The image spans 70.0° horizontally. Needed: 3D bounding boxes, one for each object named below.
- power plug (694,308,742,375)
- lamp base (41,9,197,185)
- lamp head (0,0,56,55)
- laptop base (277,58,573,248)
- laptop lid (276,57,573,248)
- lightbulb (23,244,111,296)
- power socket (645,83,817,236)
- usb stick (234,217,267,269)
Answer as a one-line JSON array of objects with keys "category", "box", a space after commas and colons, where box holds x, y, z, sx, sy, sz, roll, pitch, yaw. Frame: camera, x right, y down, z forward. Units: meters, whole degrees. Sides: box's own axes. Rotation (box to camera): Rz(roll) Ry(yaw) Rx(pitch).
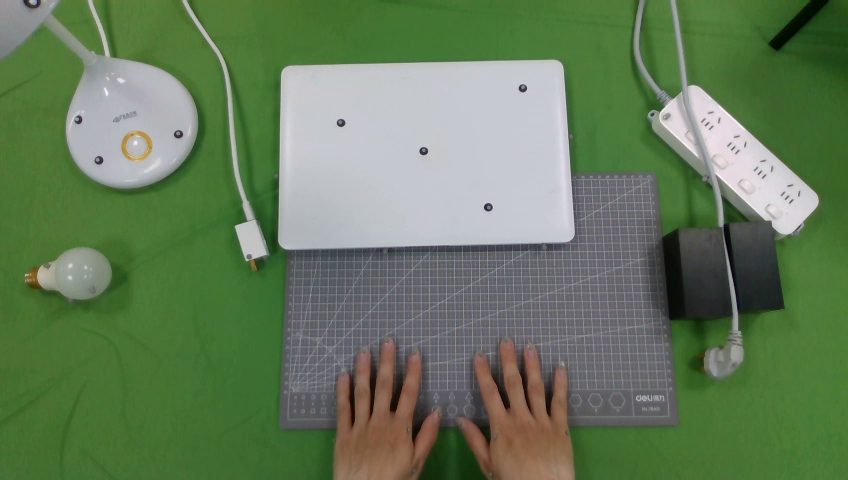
[{"category": "power plug", "box": [0.334, 0.117, 0.684, 0.035, 0.052, 0.072, 30, 71, -19]}, {"category": "lamp base", "box": [-0.368, -0.171, 0.673, 0.160, 0.181, 0.178, -31, 77, -6]}, {"category": "lamp head", "box": [-0.320, -0.202, 0.402, 0.112, 0.124, 0.111, -19, 52, 27]}, {"category": "laptop base", "box": [-0.001, -0.109, 0.744, 0.354, 0.023, 0.234, -2, 81, -1]}, {"category": "laptop lid", "box": [-0.002, -0.109, 0.732, 0.357, 0.013, 0.240, 0, 79, 0]}, {"category": "lightbulb", "box": [-0.414, 0.036, 0.696, 0.107, 0.060, 0.059, -5, 77, 14]}, {"category": "power socket", "box": [0.372, -0.098, 0.734, 0.072, 0.033, 0.226, -42, 81, -8]}, {"category": "usb stick", "box": [-0.203, 0.005, 0.716, 0.027, 0.021, 0.059, -15, 88, -5]}]
